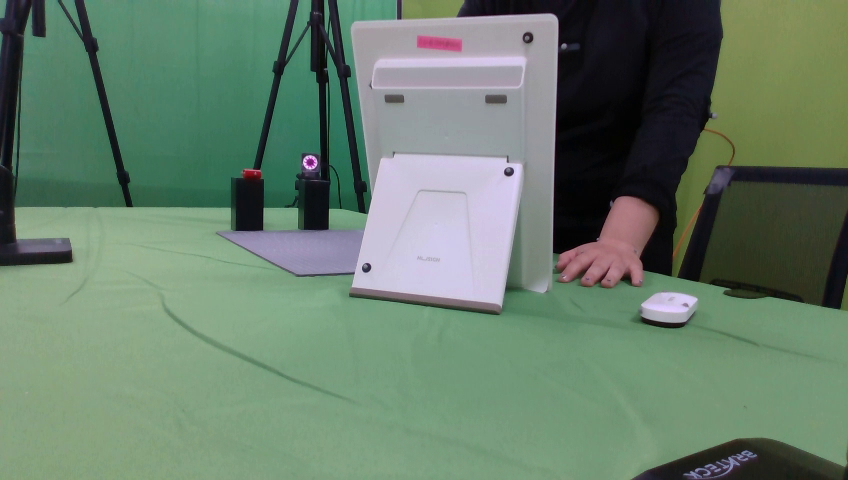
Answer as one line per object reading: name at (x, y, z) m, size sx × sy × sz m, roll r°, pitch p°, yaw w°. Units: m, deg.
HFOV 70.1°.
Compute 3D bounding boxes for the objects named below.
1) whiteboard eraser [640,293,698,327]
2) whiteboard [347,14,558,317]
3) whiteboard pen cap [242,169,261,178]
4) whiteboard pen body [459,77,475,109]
whiteboard eraser at (0.240, 0.067, 0.590) m, size 0.041 × 0.019 × 0.102 m, roll 5°, pitch 7°, yaw 32°
whiteboard at (0.012, -0.056, 0.608) m, size 0.216 × 0.305 × 0.144 m, roll 6°, pitch 27°, yaw 20°
whiteboard pen cap at (-0.326, -0.125, 1.144) m, size 0.032 × 0.017 × 0.017 m, roll 0°, pitch 8°, yaw -37°
whiteboard pen body at (0.052, -0.176, 0.727) m, size 0.017 × 0.017 × 0.140 m, roll 3°, pitch 26°, yaw 4°
